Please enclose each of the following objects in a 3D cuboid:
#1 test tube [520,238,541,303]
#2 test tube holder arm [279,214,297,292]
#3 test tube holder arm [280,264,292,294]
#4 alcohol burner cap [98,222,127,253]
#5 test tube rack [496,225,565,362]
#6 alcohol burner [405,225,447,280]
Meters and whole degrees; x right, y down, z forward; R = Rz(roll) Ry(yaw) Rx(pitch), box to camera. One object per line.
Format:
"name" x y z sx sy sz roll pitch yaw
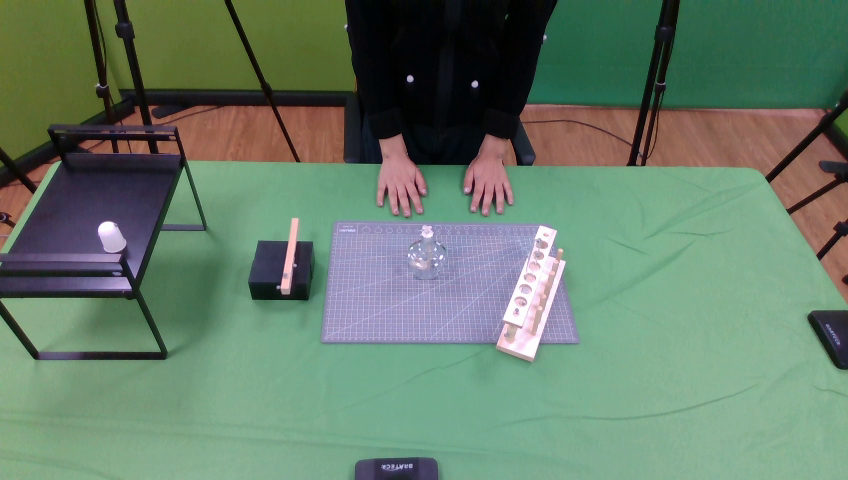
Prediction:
"test tube" 0.182 0.056 1.042 0.017 0.151 0.017 1 44 -1
"test tube holder arm" -0.242 0.019 1.087 0.015 0.013 0.177 7 49 -12
"test tube holder arm" -0.242 0.057 1.062 0.015 0.010 0.087 7 49 -12
"alcohol burner cap" -0.468 -0.007 0.904 0.034 0.048 0.033 3 45 -3
"test tube rack" 0.200 0.089 1.081 0.066 0.085 0.241 19 48 13
"alcohol burner" 0.004 0.017 1.115 0.078 0.120 0.077 1 47 -1
